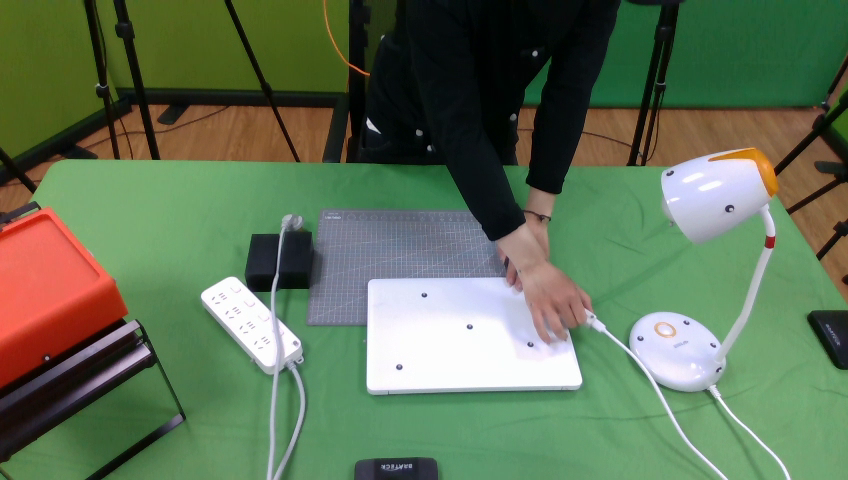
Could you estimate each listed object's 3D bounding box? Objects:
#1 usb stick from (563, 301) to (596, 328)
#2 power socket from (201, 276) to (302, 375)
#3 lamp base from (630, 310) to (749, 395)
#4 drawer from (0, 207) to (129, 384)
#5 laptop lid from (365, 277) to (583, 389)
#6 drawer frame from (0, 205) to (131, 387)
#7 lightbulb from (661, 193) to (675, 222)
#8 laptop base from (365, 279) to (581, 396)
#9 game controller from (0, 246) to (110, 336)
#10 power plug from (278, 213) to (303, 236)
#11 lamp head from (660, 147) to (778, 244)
[{"bbox_3d":[0.270,0.126,1.054,0.059,0.027,0.021,34,74,29],"label":"usb stick"},{"bbox_3d":[-0.296,0.142,1.033,0.072,0.033,0.225,-34,58,-31],"label":"power socket"},{"bbox_3d":[0.447,0.142,0.984,0.161,0.181,0.178,-24,55,-24],"label":"lamp base"},{"bbox_3d":[-0.539,0.074,0.798,0.193,0.073,0.211,37,55,27],"label":"drawer"},{"bbox_3d":[0.077,0.152,1.046,0.357,0.013,0.240,1,45,-3],"label":"laptop lid"},{"bbox_3d":[-0.539,0.076,0.795,0.200,0.083,0.213,36,54,26],"label":"drawer frame"},{"bbox_3d":[0.367,-0.060,0.806,0.060,0.107,0.059,16,62,-32],"label":"lightbulb"},{"bbox_3d":[0.077,0.162,1.053,0.355,0.023,0.234,0,44,-5],"label":"laptop base"},{"bbox_3d":[-0.511,0.062,0.830,0.097,0.052,0.154,-30,58,-32],"label":"game controller"},{"bbox_3d":[-0.264,-0.022,1.184,0.035,0.053,0.072,5,49,33],"label":"power plug"},{"bbox_3d":[0.389,-0.063,0.784,0.123,0.113,0.112,-22,33,37],"label":"lamp head"}]
